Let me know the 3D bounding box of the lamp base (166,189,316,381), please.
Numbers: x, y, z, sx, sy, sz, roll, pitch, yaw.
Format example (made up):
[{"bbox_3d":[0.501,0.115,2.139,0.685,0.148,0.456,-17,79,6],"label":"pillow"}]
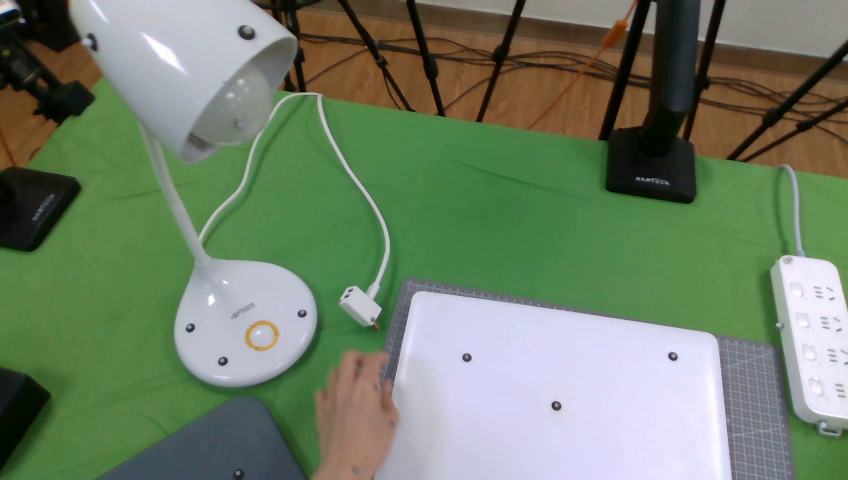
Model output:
[{"bbox_3d":[-0.217,0.038,0.649,0.178,0.182,0.160,33,60,24],"label":"lamp base"}]

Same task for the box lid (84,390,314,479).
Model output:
[{"bbox_3d":[-0.188,0.336,0.542,0.263,0.015,0.368,-30,61,-20],"label":"box lid"}]

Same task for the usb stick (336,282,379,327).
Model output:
[{"bbox_3d":[-0.072,0.077,0.705,0.021,0.059,0.027,-15,34,46],"label":"usb stick"}]

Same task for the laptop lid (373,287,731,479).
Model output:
[{"bbox_3d":[0.139,0.172,0.643,0.356,0.013,0.240,9,57,6],"label":"laptop lid"}]

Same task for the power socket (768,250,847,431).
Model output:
[{"bbox_3d":[0.452,0.105,0.700,0.072,0.033,0.225,9,55,5],"label":"power socket"}]

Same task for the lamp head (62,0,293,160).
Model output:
[{"bbox_3d":[-0.166,-0.129,0.396,0.123,0.112,0.112,38,60,-3],"label":"lamp head"}]

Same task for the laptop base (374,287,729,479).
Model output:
[{"bbox_3d":[0.140,0.177,0.654,0.354,0.023,0.233,8,58,5],"label":"laptop base"}]

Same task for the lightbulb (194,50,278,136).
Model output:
[{"bbox_3d":[-0.136,-0.120,0.391,0.059,0.059,0.108,-26,98,-18],"label":"lightbulb"}]
